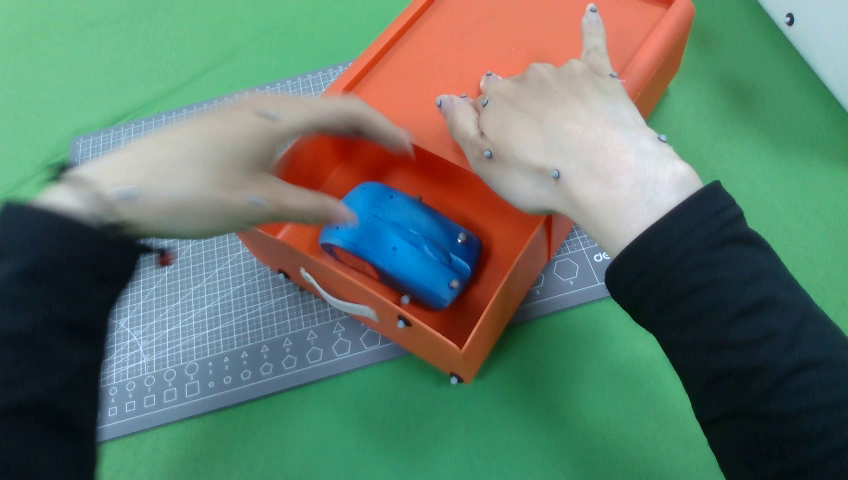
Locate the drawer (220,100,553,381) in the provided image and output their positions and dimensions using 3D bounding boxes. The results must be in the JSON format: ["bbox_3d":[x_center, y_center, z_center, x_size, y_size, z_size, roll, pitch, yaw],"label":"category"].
[{"bbox_3d":[0.002,-0.038,0.435,0.193,0.074,0.211,27,66,23],"label":"drawer"}]

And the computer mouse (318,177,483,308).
[{"bbox_3d":[-0.018,-0.002,0.432,0.116,0.041,0.062,28,66,18],"label":"computer mouse"}]

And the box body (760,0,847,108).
[{"bbox_3d":[0.403,-0.246,0.447,0.254,0.162,0.360,-15,59,0],"label":"box body"}]

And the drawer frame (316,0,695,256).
[{"bbox_3d":[0.062,-0.120,0.471,0.200,0.083,0.213,28,67,23],"label":"drawer frame"}]
